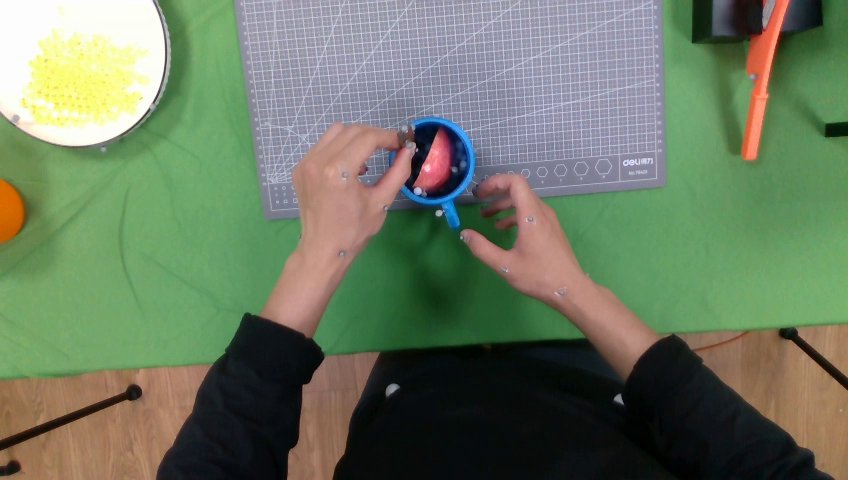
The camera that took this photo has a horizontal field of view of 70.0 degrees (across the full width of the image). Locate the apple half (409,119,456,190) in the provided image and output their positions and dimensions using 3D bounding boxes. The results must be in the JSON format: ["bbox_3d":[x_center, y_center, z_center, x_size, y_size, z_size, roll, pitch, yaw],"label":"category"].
[{"bbox_3d":[0.016,-0.083,0.611,0.033,0.081,0.081,24,99,6],"label":"apple half"}]

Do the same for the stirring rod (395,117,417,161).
[{"bbox_3d":[-0.015,-0.092,0.564,0.014,0.176,0.006,-45,89,1],"label":"stirring rod"}]

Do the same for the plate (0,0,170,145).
[{"bbox_3d":[-0.368,-0.206,0.637,0.209,0.038,0.209,0,100,1],"label":"plate"}]

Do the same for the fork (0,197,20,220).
[{"bbox_3d":[-0.531,-0.040,0.609,0.209,0.018,0.028,5,100,-45],"label":"fork"}]

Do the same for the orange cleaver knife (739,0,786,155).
[{"bbox_3d":[0.340,-0.191,0.614,0.012,0.076,0.213,-2,126,10],"label":"orange cleaver knife"}]

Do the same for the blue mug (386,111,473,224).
[{"bbox_3d":[0.012,-0.071,0.622,0.082,0.105,0.117,-20,99,4],"label":"blue mug"}]
